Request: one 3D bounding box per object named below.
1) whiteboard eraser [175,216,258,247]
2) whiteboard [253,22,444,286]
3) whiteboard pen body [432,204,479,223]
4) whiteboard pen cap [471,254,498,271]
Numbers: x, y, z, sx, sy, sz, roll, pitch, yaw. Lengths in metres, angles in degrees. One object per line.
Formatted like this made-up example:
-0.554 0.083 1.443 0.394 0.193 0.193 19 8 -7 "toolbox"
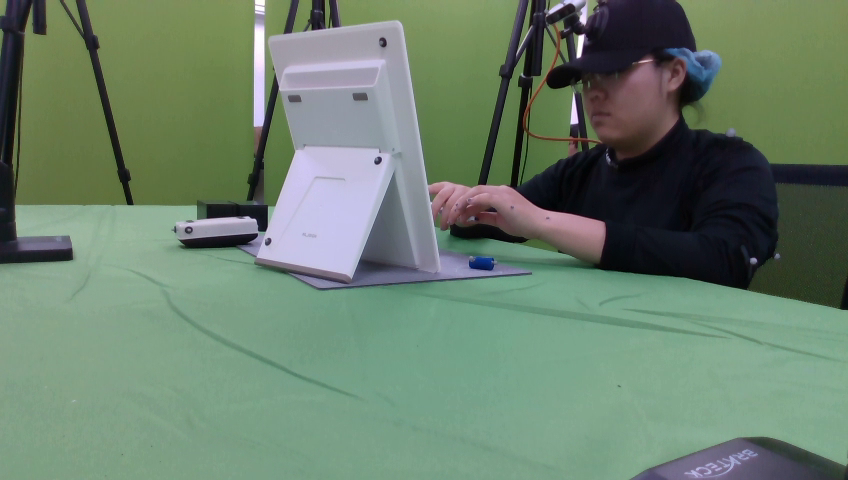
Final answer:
-0.314 -0.012 0.915 0.113 0.042 0.055 -5 12 -30 "whiteboard eraser"
-0.125 -0.081 0.715 0.216 0.305 0.144 9 29 36 "whiteboard"
0.045 -0.042 0.977 0.017 0.017 0.140 -2 12 -33 "whiteboard pen body"
0.080 0.031 0.800 0.033 0.018 0.018 18 3 -16 "whiteboard pen cap"
